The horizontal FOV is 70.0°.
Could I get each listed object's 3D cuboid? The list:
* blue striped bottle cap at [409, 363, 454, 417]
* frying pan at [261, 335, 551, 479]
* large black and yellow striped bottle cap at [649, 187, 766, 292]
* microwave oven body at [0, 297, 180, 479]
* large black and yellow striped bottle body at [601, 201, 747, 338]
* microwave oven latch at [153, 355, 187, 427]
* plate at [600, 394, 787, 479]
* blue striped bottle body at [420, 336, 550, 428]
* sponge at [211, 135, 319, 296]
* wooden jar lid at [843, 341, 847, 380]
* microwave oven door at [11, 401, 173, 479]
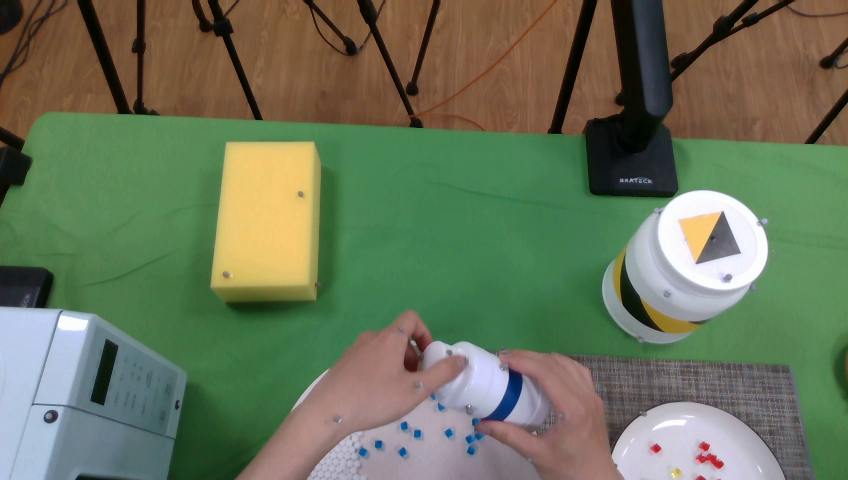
[{"bbox_3d":[0.006,0.128,0.518,0.020,0.045,0.044,35,70,5],"label":"blue striped bottle cap"},{"bbox_3d":[-0.022,0.342,0.615,0.307,0.103,0.483,2,59,2],"label":"frying pan"},{"bbox_3d":[0.296,-0.003,0.633,0.115,0.019,0.114,0,66,-1],"label":"large black and yellow striped bottle cap"},{"bbox_3d":[-0.452,0.289,0.541,0.326,0.262,0.438,3,68,0],"label":"microwave oven body"},{"bbox_3d":[0.295,0.031,0.712,0.131,0.185,0.130,0,66,-1],"label":"large black and yellow striped bottle body"},{"bbox_3d":[-0.296,0.173,0.698,0.030,0.030,0.078,6,68,1],"label":"microwave oven latch"},{"bbox_3d":[0.300,0.281,0.682,0.209,0.038,0.207,0,67,-1],"label":"plate"},{"bbox_3d":[0.055,0.131,0.570,0.122,0.063,0.062,27,64,-26],"label":"blue striped bottle body"},{"bbox_3d":[-0.203,-0.034,0.794,0.118,0.061,0.205,-2,68,-2],"label":"sponge"},{"bbox_3d":[0.573,0.161,0.752,0.108,0.021,0.107,0,69,0],"label":"wooden jar lid"},{"bbox_3d":[-0.309,0.333,0.520,0.039,0.245,0.353,3,67,0],"label":"microwave oven door"}]
